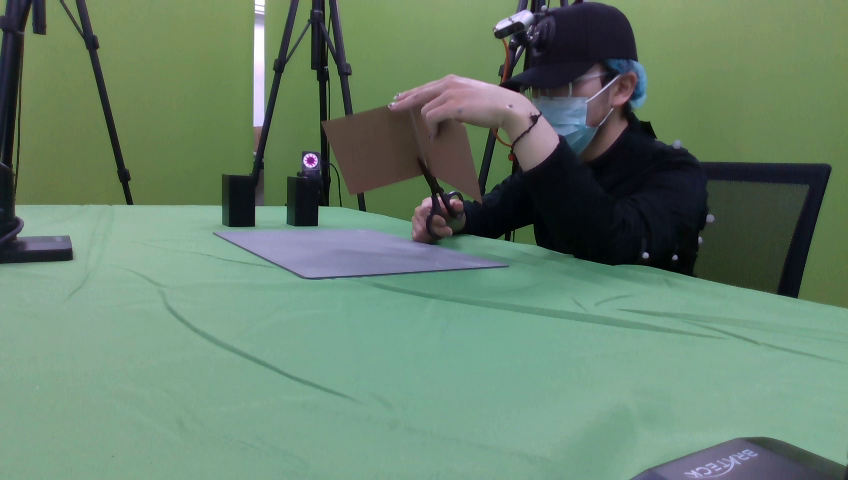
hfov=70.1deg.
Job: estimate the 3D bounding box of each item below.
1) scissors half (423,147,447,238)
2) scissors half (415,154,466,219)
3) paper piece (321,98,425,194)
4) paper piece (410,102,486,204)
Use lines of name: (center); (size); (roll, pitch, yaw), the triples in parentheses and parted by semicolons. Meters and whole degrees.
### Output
scissors half: (0.013, -0.076, 1.000); (0.040, 0.175, 0.012); (-31, 39, -30)
scissors half: (0.028, -0.091, 1.008); (0.013, 0.040, 0.176); (21, -15, 40)
paper piece: (-0.073, -0.142, 0.938); (0.136, 0.136, 0.004); (-17, 38, 3)
paper piece: (0.036, -0.128, 0.885); (0.008, 0.136, 0.137); (-38, 44, -19)
